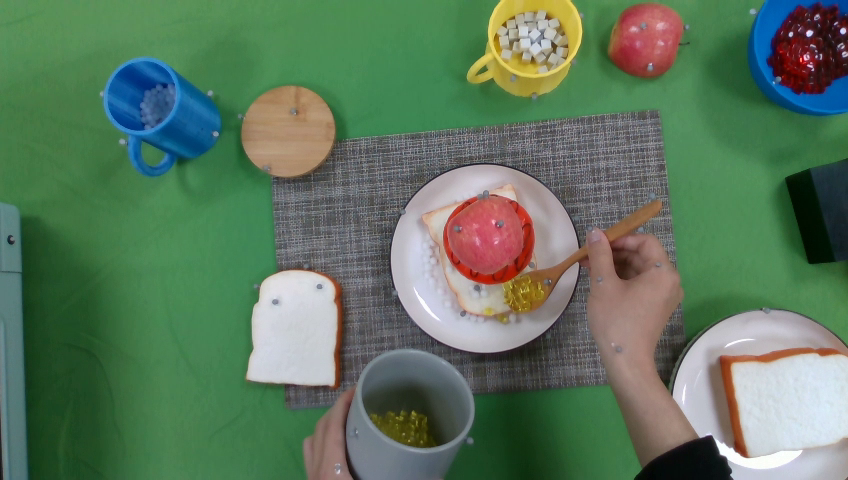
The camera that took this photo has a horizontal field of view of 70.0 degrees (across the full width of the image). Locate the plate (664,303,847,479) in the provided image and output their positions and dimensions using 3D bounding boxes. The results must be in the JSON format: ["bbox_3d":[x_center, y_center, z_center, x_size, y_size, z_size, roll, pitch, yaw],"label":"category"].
[{"bbox_3d":[0.358,0.170,0.645,0.209,0.038,0.208,0,86,3],"label":"plate"}]

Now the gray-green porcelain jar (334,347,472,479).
[{"bbox_3d":[-0.025,0.178,0.560,0.106,0.105,0.127,24,129,5],"label":"gray-green porcelain jar"}]

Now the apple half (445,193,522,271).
[{"bbox_3d":[0.060,-0.009,0.605,0.081,0.033,0.081,-1,84,10],"label":"apple half"}]

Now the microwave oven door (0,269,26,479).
[{"bbox_3d":[-0.474,0.201,0.567,0.039,0.244,0.355,-5,85,3],"label":"microwave oven door"}]

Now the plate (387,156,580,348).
[{"bbox_3d":[0.064,0.014,0.667,0.207,0.039,0.207,0,86,3],"label":"plate"}]

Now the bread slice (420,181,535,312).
[{"bbox_3d":[0.069,0.012,0.668,0.107,0.018,0.134,-21,86,1],"label":"bread slice"}]

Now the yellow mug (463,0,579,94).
[{"bbox_3d":[0.102,-0.213,0.670,0.131,0.064,0.099,-29,85,1],"label":"yellow mug"}]

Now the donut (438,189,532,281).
[{"bbox_3d":[0.065,-0.005,0.641,0.099,0.048,0.099,0,86,4],"label":"donut"}]

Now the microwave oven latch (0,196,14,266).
[{"bbox_3d":[-0.483,-0.010,0.683,0.030,0.029,0.079,-1,87,3],"label":"microwave oven latch"}]

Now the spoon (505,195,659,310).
[{"bbox_3d":[0.147,0.015,0.586,0.022,0.194,0.041,4,57,-36],"label":"spoon"}]

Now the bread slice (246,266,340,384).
[{"bbox_3d":[-0.148,0.095,0.684,0.105,0.019,0.131,2,87,3],"label":"bread slice"}]

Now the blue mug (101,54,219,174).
[{"bbox_3d":[-0.290,-0.129,0.665,0.082,0.106,0.116,16,87,4],"label":"blue mug"}]

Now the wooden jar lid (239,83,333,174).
[{"bbox_3d":[-0.157,-0.127,0.698,0.108,0.021,0.108,-1,83,4],"label":"wooden jar lid"}]

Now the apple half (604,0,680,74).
[{"bbox_3d":[0.244,-0.231,0.670,0.074,0.053,0.080,18,88,7],"label":"apple half"}]

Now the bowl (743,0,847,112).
[{"bbox_3d":[0.407,-0.202,0.647,0.151,0.077,0.151,0,87,4],"label":"bowl"}]
